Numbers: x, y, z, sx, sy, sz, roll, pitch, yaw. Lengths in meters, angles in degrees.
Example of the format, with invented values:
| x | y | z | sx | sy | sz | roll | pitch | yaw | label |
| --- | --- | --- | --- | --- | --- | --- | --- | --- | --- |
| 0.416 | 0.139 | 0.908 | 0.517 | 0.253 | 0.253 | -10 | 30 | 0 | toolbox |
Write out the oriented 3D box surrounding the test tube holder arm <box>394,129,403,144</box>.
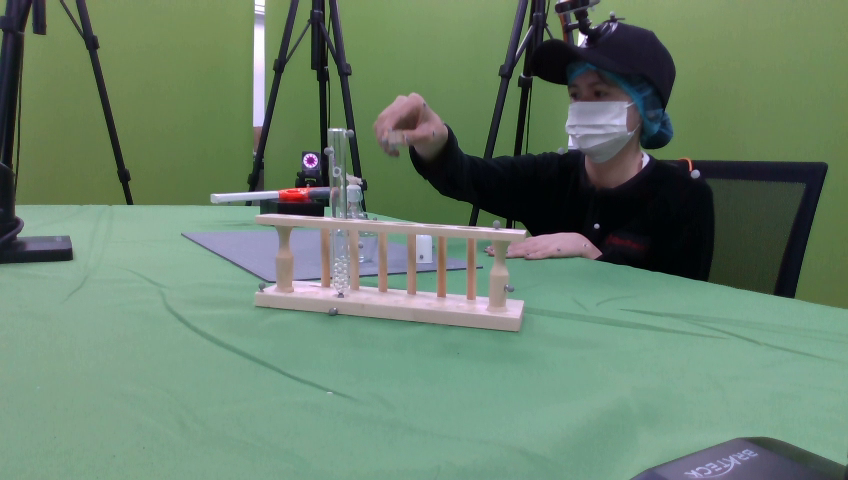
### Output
| x | y | z | sx | sy | sz | roll | pitch | yaw | label |
| --- | --- | --- | --- | --- | --- | --- | --- | --- | --- |
| -0.032 | -0.120 | 0.705 | 0.010 | 0.015 | 0.087 | -2 | 7 | -4 | test tube holder arm |

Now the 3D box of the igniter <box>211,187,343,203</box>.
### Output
| x | y | z | sx | sy | sz | roll | pitch | yaw | label |
| --- | --- | --- | --- | --- | --- | --- | --- | --- | --- |
| -0.300 | -0.094 | 1.266 | 0.278 | 0.025 | 0.057 | -6 | 12 | -34 | igniter |

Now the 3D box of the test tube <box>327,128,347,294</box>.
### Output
| x | y | z | sx | sy | sz | roll | pitch | yaw | label |
| --- | --- | --- | --- | --- | --- | --- | --- | --- | --- |
| -0.078 | -0.025 | 0.545 | 0.017 | 0.150 | 0.017 | 0 | 9 | 0 | test tube |

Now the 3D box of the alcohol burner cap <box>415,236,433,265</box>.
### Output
| x | y | z | sx | sy | sz | roll | pitch | yaw | label |
| --- | --- | --- | --- | --- | --- | --- | --- | --- | --- |
| -0.004 | 0.011 | 0.835 | 0.034 | 0.048 | 0.034 | 2 | 7 | 0 | alcohol burner cap |

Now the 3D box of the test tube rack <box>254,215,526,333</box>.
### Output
| x | y | z | sx | sy | sz | roll | pitch | yaw | label |
| --- | --- | --- | --- | --- | --- | --- | --- | --- | --- |
| -0.030 | 0.025 | 0.557 | 0.242 | 0.085 | 0.067 | 4 | 7 | 12 | test tube rack |

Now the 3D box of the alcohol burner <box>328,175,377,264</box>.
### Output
| x | y | z | sx | sy | sz | roll | pitch | yaw | label |
| --- | --- | --- | --- | --- | --- | --- | --- | --- | --- |
| -0.098 | -0.028 | 0.819 | 0.078 | 0.119 | 0.078 | 1 | 8 | 0 | alcohol burner |

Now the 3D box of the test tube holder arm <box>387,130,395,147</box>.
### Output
| x | y | z | sx | sy | sz | roll | pitch | yaw | label |
| --- | --- | --- | --- | --- | --- | --- | --- | --- | --- |
| -0.041 | -0.125 | 0.749 | 0.013 | 0.015 | 0.178 | -2 | 7 | -5 | test tube holder arm |
